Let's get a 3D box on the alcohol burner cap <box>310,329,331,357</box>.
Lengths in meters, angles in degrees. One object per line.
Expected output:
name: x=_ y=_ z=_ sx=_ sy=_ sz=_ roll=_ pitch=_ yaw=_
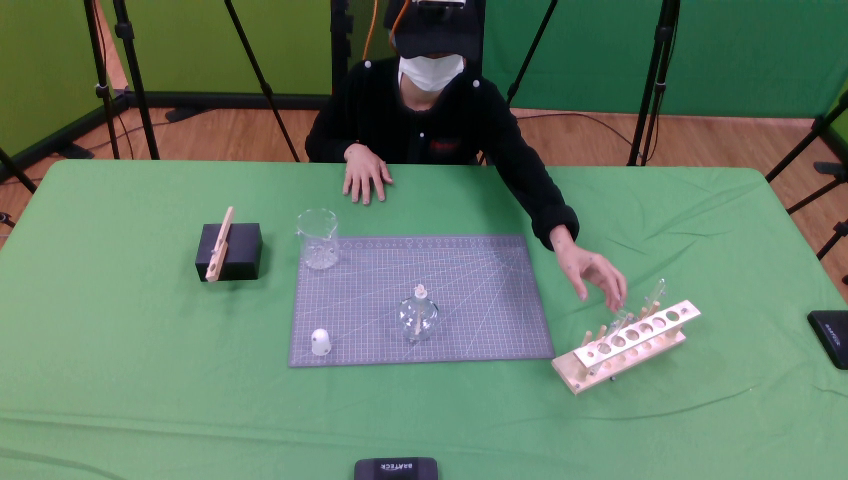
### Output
alcohol burner cap: x=-0.173 y=0.168 z=1.005 sx=0.034 sy=0.048 sz=0.033 roll=2 pitch=46 yaw=-2

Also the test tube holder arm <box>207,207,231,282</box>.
test tube holder arm: x=-0.371 y=0.004 z=1.101 sx=0.013 sy=0.015 sz=0.177 roll=-4 pitch=47 yaw=-1

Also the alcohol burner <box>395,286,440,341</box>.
alcohol burner: x=-0.010 y=0.116 z=1.018 sx=0.078 sy=0.119 sz=0.077 roll=3 pitch=47 yaw=-3

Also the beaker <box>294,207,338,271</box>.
beaker: x=-0.196 y=0.003 z=1.123 sx=0.074 sy=0.101 sz=0.083 roll=-23 pitch=52 yaw=-24

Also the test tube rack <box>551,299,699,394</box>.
test tube rack: x=0.339 y=0.166 z=1.021 sx=0.242 sy=0.085 sz=0.066 roll=-19 pitch=50 yaw=-21

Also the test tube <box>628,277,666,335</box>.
test tube: x=0.371 y=0.112 z=1.014 sx=0.017 sy=0.151 sz=0.017 roll=3 pitch=47 yaw=-3

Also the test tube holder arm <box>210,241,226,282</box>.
test tube holder arm: x=-0.363 y=0.036 z=1.070 sx=0.010 sy=0.015 sz=0.087 roll=-3 pitch=47 yaw=0

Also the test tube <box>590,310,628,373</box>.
test tube: x=0.288 y=0.162 z=0.951 sx=0.017 sy=0.151 sz=0.017 roll=4 pitch=44 yaw=-4
